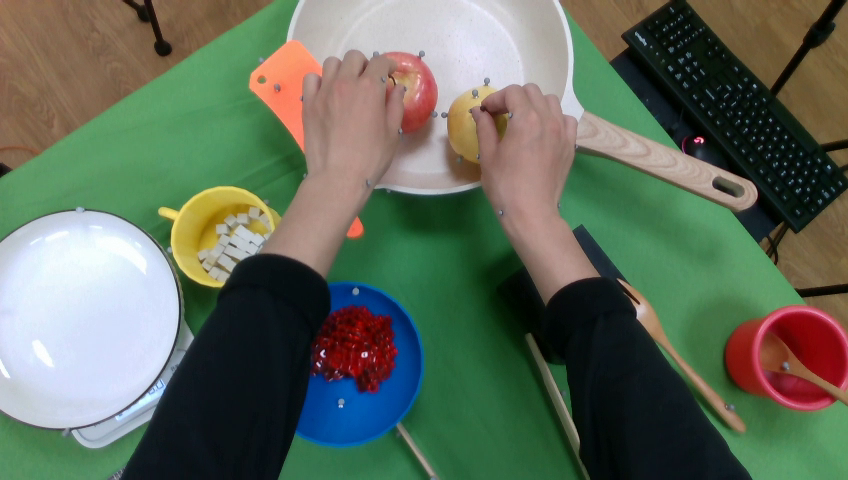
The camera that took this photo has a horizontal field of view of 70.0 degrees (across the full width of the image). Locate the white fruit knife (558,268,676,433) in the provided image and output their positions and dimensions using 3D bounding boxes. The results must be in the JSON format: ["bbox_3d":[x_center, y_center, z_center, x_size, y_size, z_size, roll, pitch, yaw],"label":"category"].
[{"bbox_3d":[0.189,0.111,0.596,0.016,0.027,0.208,-37,98,-6],"label":"white fruit knife"}]

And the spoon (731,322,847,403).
[{"bbox_3d":[0.374,0.136,0.562,0.041,0.022,0.191,-40,39,-8],"label":"spoon"}]

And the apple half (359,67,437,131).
[{"bbox_3d":[-0.029,-0.142,0.631,0.081,0.075,0.053,5,82,-3],"label":"apple half"}]

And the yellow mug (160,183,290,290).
[{"bbox_3d":[-0.208,-0.007,0.615,0.131,0.064,0.099,22,82,4],"label":"yellow mug"}]

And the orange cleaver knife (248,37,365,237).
[{"bbox_3d":[-0.099,-0.104,0.595,0.077,0.012,0.210,-30,83,-3],"label":"orange cleaver knife"}]

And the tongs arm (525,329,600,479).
[{"bbox_3d":[0.171,0.271,0.592,0.028,0.028,0.386,-19,83,-9],"label":"tongs arm"}]

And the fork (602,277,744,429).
[{"bbox_3d":[0.251,0.115,0.603,0.028,0.018,0.208,-45,99,-9],"label":"fork"}]

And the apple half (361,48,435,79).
[{"bbox_3d":[-0.025,-0.180,0.636,0.081,0.081,0.032,6,83,1],"label":"apple half"}]

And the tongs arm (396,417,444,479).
[{"bbox_3d":[0.097,0.312,0.584,0.051,0.026,0.383,-34,84,-8],"label":"tongs arm"}]

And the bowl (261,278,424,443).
[{"bbox_3d":[-0.075,0.115,0.592,0.151,0.077,0.151,0,81,-1],"label":"bowl"}]

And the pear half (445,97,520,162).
[{"bbox_3d":[0.061,-0.111,0.606,0.076,0.110,0.056,-16,82,4],"label":"pear half"}]

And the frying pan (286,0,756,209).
[{"bbox_3d":[0.096,-0.140,0.622,0.486,0.103,0.306,26,82,12],"label":"frying pan"}]

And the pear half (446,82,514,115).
[{"bbox_3d":[0.055,-0.145,0.622,0.070,0.088,0.031,-16,88,7],"label":"pear half"}]

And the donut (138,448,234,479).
[{"bbox_3d":[-0.229,0.250,0.581,0.099,0.048,0.098,0,82,1],"label":"donut"}]

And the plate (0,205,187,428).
[{"bbox_3d":[-0.330,0.071,0.585,0.209,0.038,0.208,0,80,-1],"label":"plate"}]

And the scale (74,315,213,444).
[{"bbox_3d":[-0.323,0.089,0.616,0.148,0.031,0.200,-31,83,-5],"label":"scale"}]
